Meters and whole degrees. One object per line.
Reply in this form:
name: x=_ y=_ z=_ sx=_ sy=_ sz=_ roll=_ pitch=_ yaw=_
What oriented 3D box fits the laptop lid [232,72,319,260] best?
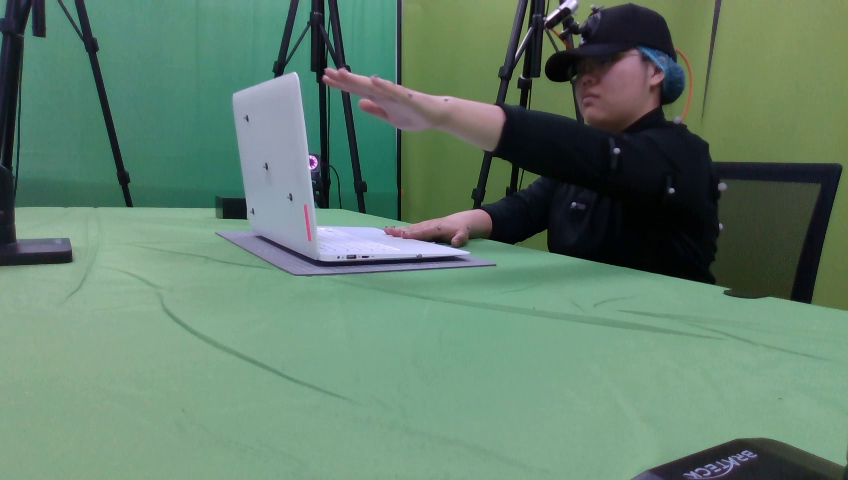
laptop lid: x=-0.229 y=-0.109 z=0.888 sx=0.013 sy=0.241 sz=0.355 roll=-10 pitch=14 yaw=-28

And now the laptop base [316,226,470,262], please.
laptop base: x=-0.117 y=0.005 z=0.971 sx=0.237 sy=0.023 sz=0.352 roll=3 pitch=6 yaw=-30
